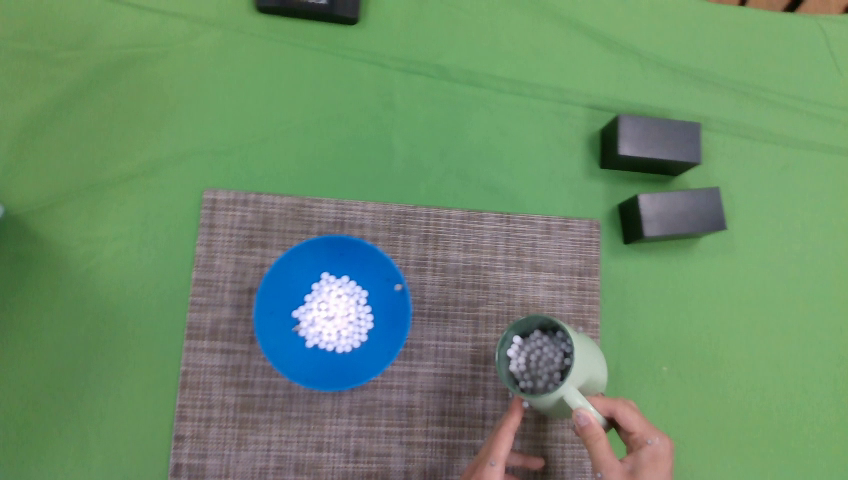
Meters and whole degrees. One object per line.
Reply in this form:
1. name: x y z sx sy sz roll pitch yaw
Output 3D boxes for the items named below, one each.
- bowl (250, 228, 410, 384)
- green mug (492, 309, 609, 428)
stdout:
1. bowl: -0.094 0.068 0.616 0.152 0.077 0.151 1 80 -8
2. green mug: 0.132 0.130 0.592 0.092 0.106 0.124 -45 54 6
